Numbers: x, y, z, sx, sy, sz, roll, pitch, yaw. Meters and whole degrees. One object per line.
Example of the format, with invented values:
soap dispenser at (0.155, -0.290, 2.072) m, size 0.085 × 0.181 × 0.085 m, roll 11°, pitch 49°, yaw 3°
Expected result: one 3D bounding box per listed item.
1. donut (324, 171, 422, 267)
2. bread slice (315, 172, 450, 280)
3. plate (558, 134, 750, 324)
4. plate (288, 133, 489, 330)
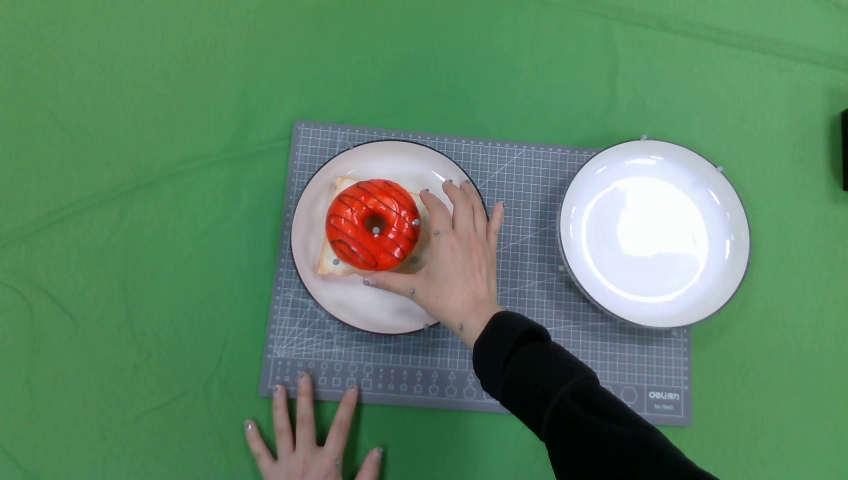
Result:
donut at (-0.051, -0.022, 0.611) m, size 0.099 × 0.048 × 0.098 m, roll 1°, pitch 79°, yaw -3°
bread slice at (-0.040, -0.012, 0.639) m, size 0.134 × 0.018 × 0.106 m, roll 7°, pitch 78°, yaw -3°
plate at (0.245, -0.011, 0.658) m, size 0.208 × 0.039 × 0.206 m, roll 1°, pitch 79°, yaw -4°
plate at (-0.036, -0.008, 0.637) m, size 0.209 × 0.038 × 0.208 m, roll 1°, pitch 79°, yaw -4°
